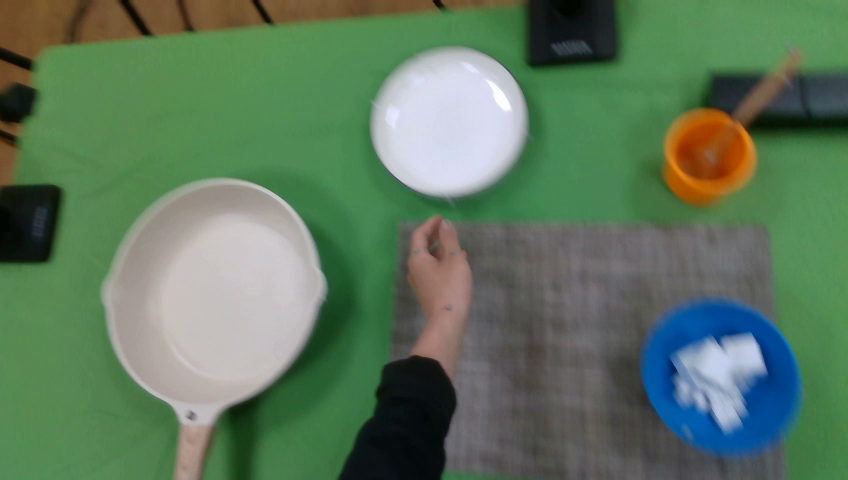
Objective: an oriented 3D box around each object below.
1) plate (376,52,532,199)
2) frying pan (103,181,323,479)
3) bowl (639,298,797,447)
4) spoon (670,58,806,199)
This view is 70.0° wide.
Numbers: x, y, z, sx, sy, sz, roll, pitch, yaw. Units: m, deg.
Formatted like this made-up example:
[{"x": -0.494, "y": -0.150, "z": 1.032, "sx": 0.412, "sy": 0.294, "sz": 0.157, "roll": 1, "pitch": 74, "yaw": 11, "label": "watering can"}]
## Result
[{"x": 0.040, "y": -0.150, "z": 0.812, "sx": 0.207, "sy": 0.039, "sz": 0.206, "roll": -3, "pitch": 75, "yaw": 11, "label": "plate"}, {"x": -0.275, "y": 0.165, "z": 0.759, "sx": 0.306, "sy": 0.103, "sz": 0.484, "roll": -1, "pitch": 67, "yaw": 12, "label": "frying pan"}, {"x": 0.306, "y": 0.143, "z": 0.652, "sx": 0.151, "sy": 0.077, "sz": 0.150, "roll": -3, "pitch": 74, "yaw": 11, "label": "bowl"}, {"x": 0.350, "y": -0.120, "z": 0.680, "sx": 0.022, "sy": 0.194, "sz": 0.041, "roll": -17, "pitch": 60, "yaw": -40, "label": "spoon"}]
